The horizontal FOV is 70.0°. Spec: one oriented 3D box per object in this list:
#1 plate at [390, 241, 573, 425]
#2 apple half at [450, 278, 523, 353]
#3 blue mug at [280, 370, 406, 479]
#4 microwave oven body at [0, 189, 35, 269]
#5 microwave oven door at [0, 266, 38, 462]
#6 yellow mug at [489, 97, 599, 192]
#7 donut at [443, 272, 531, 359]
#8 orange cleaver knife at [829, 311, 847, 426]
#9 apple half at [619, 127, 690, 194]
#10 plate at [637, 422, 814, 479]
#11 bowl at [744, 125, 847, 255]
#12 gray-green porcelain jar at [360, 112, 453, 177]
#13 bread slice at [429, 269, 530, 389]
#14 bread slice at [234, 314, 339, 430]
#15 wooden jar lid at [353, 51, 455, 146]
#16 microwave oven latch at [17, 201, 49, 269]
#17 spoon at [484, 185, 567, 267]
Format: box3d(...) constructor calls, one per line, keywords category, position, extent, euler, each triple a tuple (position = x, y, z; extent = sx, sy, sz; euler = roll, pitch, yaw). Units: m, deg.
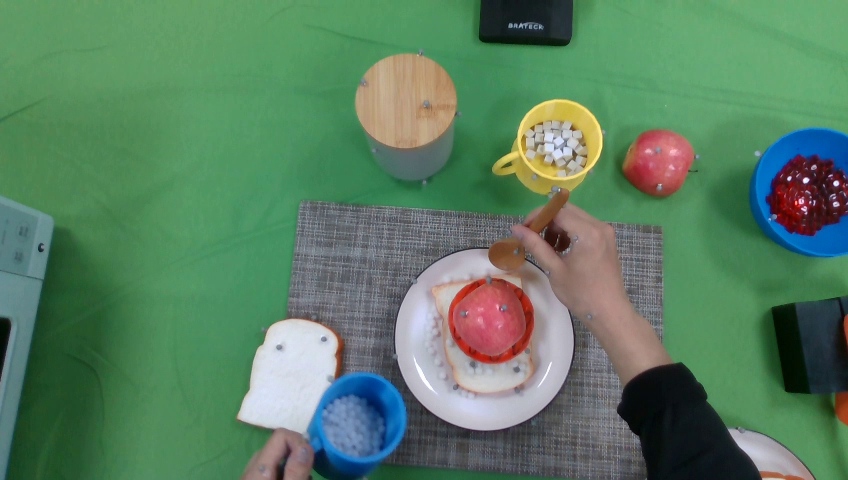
box3d(category="plate", position=(0.065, 0.106, 0.704), extent=(0.208, 0.039, 0.206), euler=(0, 79, 1))
box3d(category="apple half", position=(0.068, 0.080, 0.644), extent=(0.081, 0.033, 0.081), euler=(-1, 80, 8))
box3d(category="blue mug", position=(-0.084, 0.188, 0.582), extent=(0.117, 0.106, 0.082), euler=(-23, 70, -28))
box3d(category="microwave oven body", position=(-0.634, 0.136, 0.595), extent=(0.326, 0.261, 0.440), euler=(5, 80, 2))
box3d(category="microwave oven door", position=(-0.494, 0.188, 0.577), extent=(0.039, 0.244, 0.354), euler=(4, 79, 2))
box3d(category="yellow mug", position=(0.141, -0.109, 0.733), extent=(0.131, 0.064, 0.099), euler=(-19, 79, -2))
box3d(category="donut", position=(0.071, 0.085, 0.679), extent=(0.099, 0.048, 0.098), euler=(0, 79, 1))
box3d(category="orange cleaver knife", position=(0.475, 0.184, 0.664), extent=(0.012, 0.077, 0.212), euler=(-7, 101, -7))
box3d(category="apple half", position=(0.283, -0.103, 0.737), extent=(0.074, 0.053, 0.080), euler=(26, 81, 8))
box3d(category="plate", position=(0.330, 0.306, 0.666), extent=(0.209, 0.038, 0.208), euler=(0, 79, 1))
box3d(category="bowl", position=(0.441, -0.050, 0.711), extent=(0.151, 0.077, 0.150), euler=(0, 80, 1))
box3d(category="gray-green porcelain jar", position=(-0.020, -0.137, 0.710), extent=(0.106, 0.127, 0.105), euler=(0, 79, 1))
box3d(category="bread slice", position=(0.071, 0.105, 0.706), extent=(0.107, 0.018, 0.133), euler=(-11, 78, -2))
box3d(category="bread slice", position=(-0.157, 0.152, 0.709), extent=(0.105, 0.019, 0.131), euler=(12, 81, 2))
box3d(category="wooden jar lid", position=(-0.021, -0.149, 0.649), extent=(0.108, 0.021, 0.108), euler=(0, 77, 1))
box3d(category="microwave oven latch", position=(-0.470, -0.006, 0.717), extent=(0.030, 0.029, 0.079), euler=(8, 80, 2))
box3d(category="spoon", position=(0.103, -0.010, 0.615), extent=(0.041, 0.194, 0.021), euler=(30, 69, -1))
